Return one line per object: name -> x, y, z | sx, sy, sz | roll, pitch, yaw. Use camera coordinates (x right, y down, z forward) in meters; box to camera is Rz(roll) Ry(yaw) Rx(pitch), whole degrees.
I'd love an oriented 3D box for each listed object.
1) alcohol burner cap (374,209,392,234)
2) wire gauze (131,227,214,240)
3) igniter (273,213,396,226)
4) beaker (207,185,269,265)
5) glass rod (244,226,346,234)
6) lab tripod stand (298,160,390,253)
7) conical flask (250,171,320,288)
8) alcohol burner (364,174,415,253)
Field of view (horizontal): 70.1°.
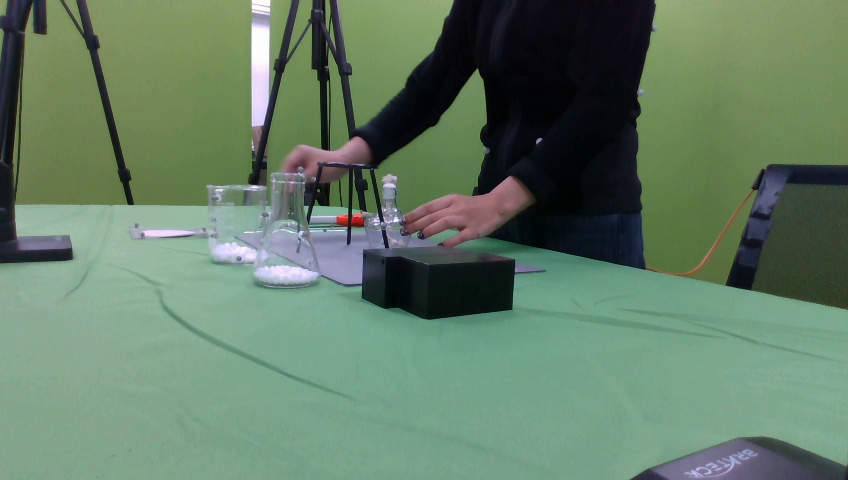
alcohol burner cap -> -0.078, -0.036, 1.148 | 0.034, 0.048, 0.034 | 2, 7, 0
wire gauze -> -0.425, -0.013, 1.018 | 0.122, 0.011, 0.124 | -1, 6, -28
igniter -> -0.179, -0.044, 1.258 | 0.278, 0.025, 0.057 | -3, -2, -39
beaker -> -0.244, -0.021, 0.784 | 0.083, 0.100, 0.074 | 6, 8, 30
glass rod -> -0.239, -0.019, 1.145 | 0.201, 0.008, 0.008 | -3, 9, -30
lab tripod stand -> -0.111, -0.050, 0.893 | 0.148, 0.131, 0.148 | 4, 7, 0
conical flask -> -0.150, -0.013, 0.658 | 0.075, 0.122, 0.075 | 2, 7, 0
alcohol burner -> -0.053, -0.041, 0.918 | 0.078, 0.119, 0.078 | 0, 7, 0
